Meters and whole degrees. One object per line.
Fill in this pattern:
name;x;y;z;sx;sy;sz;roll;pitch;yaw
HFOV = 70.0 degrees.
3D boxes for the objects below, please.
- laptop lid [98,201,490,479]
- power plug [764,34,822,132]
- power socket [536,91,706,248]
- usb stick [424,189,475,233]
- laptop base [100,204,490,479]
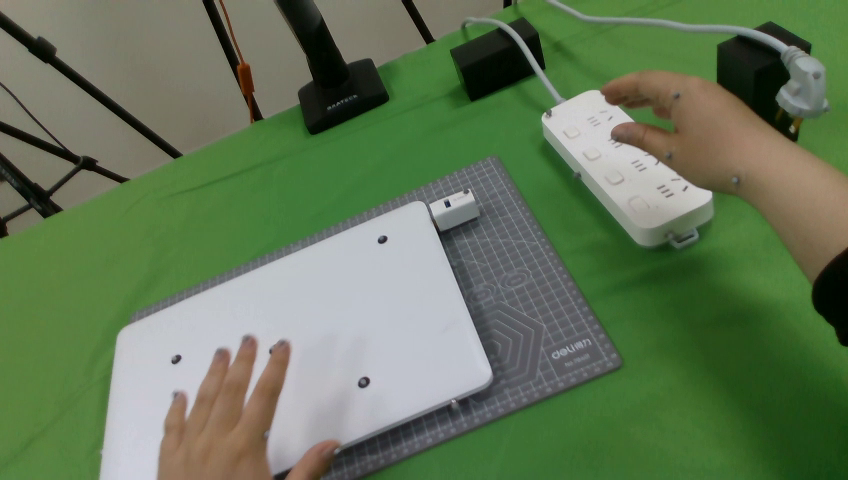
laptop lid;-0.137;0.105;0.554;0.357;0.013;0.239;-23;46;3
power plug;0.291;-0.125;0.486;0.035;0.053;0.072;4;49;-1
power socket;0.181;-0.076;0.586;0.072;0.033;0.224;-25;44;0
usb stick;0.019;-0.026;0.605;0.059;0.027;0.021;-25;43;5
laptop base;-0.134;0.111;0.564;0.354;0.023;0.233;-24;47;2
